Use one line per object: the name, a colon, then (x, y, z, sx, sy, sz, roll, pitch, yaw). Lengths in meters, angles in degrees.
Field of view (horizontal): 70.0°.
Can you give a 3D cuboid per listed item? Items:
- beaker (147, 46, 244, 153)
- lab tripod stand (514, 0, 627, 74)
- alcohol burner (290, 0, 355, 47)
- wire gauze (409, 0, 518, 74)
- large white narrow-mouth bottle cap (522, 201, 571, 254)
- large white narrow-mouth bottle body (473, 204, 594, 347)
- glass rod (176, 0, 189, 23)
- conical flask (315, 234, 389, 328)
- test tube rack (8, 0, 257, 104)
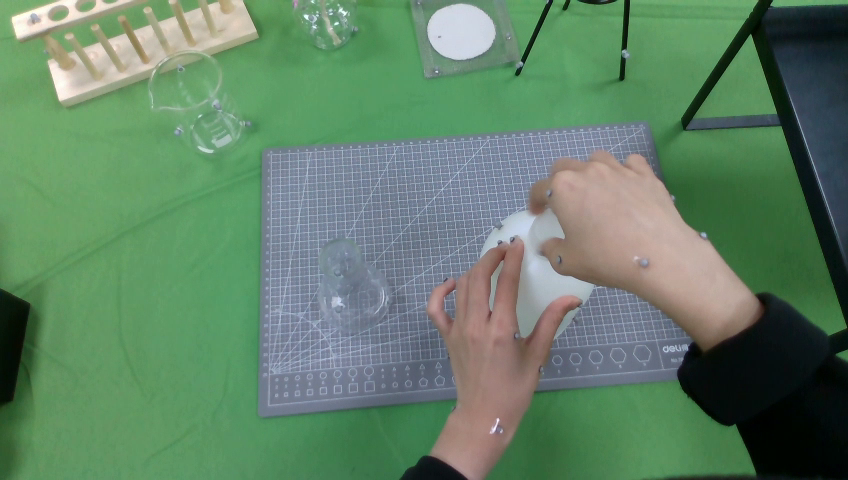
beaker: (-0.245, -0.145, 0.659, 0.073, 0.101, 0.084, 40, 73, 15)
lab tripod stand: (0.178, -0.263, 0.692, 0.148, 0.132, 0.147, 1, 67, -2)
alcohol burner: (-0.121, -0.286, 0.710, 0.078, 0.120, 0.077, 1, 66, -1)
wire gauze: (0.047, -0.268, 0.760, 0.121, 0.011, 0.124, -9, 68, -5)
large white narrow-mouth bottle cap: (0.093, -0.009, 0.462, 0.038, 0.024, 0.037, 0, 67, 1)
large white narrow-mouth bottle body: (0.097, 0.026, 0.541, 0.102, 0.196, 0.101, -1, 67, 2)
glass rod: (-0.286, -0.312, 0.661, 0.008, 0.201, 0.008, 2, 66, -4)
conical flask: (-0.074, 0.034, 0.574, 0.075, 0.122, 0.075, 0, 68, 0)
test tube rack: (-0.331, -0.250, 0.708, 0.242, 0.086, 0.066, -24, 70, -10)
